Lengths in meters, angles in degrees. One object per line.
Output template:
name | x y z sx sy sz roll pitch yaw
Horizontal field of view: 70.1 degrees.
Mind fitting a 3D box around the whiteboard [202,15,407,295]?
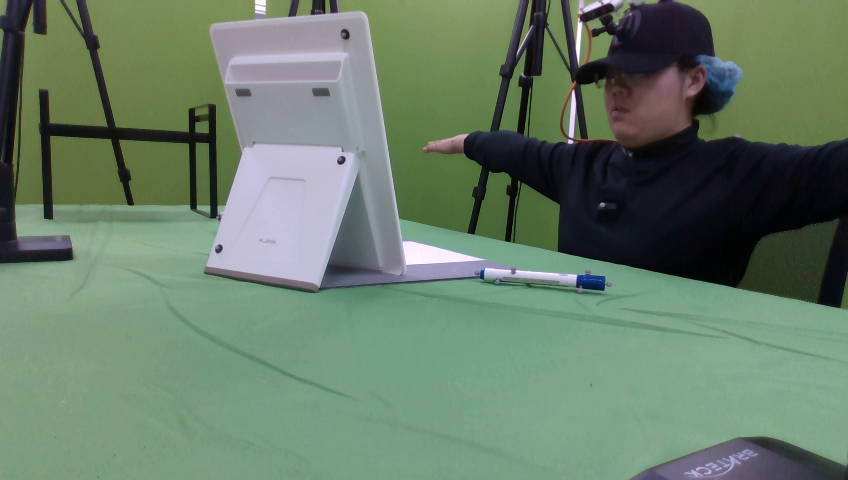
whiteboard | -0.167 -0.073 0.668 0.216 0.305 0.144 7 30 28

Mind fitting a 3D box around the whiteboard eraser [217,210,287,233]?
whiteboard eraser | -0.310 -0.034 1.094 0.113 0.042 0.055 -2 11 -38

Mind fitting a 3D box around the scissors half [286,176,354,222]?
scissors half | -0.229 -0.091 1.337 0.175 0.013 0.040 33 13 -13

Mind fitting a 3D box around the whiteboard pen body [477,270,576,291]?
whiteboard pen body | 0.131 0.048 0.706 0.140 0.017 0.017 4 8 18

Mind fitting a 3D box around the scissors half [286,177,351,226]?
scissors half | -0.232 -0.085 1.317 0.175 0.013 0.040 38 18 4

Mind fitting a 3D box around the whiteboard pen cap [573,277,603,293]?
whiteboard pen cap | 0.186 0.051 0.687 0.033 0.018 0.018 4 7 17
